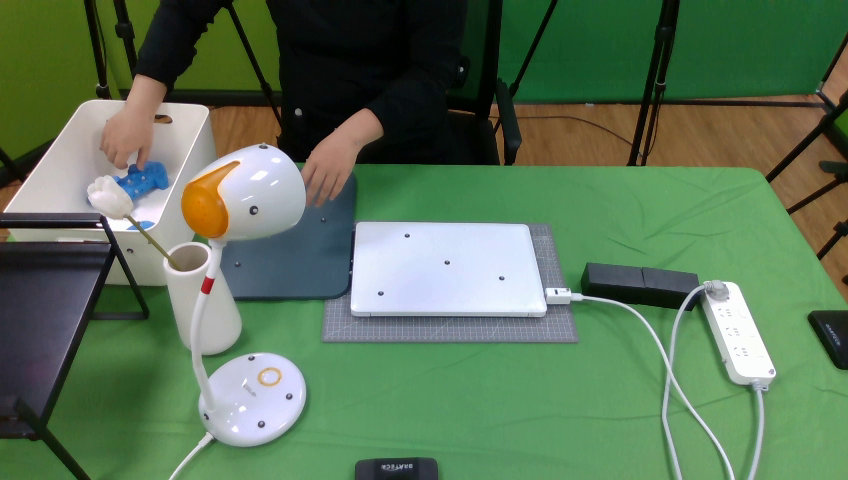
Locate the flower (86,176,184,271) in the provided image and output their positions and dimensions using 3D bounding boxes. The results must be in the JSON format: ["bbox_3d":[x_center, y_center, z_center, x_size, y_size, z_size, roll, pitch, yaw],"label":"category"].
[{"bbox_3d":[-0.365,0.038,0.894,0.038,0.364,0.044,-4,53,15],"label":"flower"}]

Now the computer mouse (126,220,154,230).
[{"bbox_3d":[-0.537,0.008,1.127,0.062,0.041,0.117,32,56,20],"label":"computer mouse"}]

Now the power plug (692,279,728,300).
[{"bbox_3d":[0.522,0.091,1.116,0.072,0.053,0.035,10,47,8],"label":"power plug"}]

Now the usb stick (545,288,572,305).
[{"bbox_3d":[0.236,0.102,1.101,0.059,0.027,0.021,-2,47,2],"label":"usb stick"}]

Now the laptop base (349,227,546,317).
[{"bbox_3d":[0.040,0.055,1.149,0.355,0.023,0.234,1,42,-4],"label":"laptop base"}]

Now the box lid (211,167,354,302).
[{"bbox_3d":[-0.276,-0.024,1.205,0.263,0.015,0.369,0,46,-4],"label":"box lid"}]

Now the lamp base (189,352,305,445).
[{"bbox_3d":[-0.268,0.196,0.876,0.160,0.181,0.179,26,52,20],"label":"lamp base"}]

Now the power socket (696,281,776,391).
[{"bbox_3d":[0.550,0.160,1.078,0.072,0.033,0.225,2,46,-1],"label":"power socket"}]

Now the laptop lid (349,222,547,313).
[{"bbox_3d":[0.041,0.046,1.143,0.357,0.013,0.240,2,44,-3],"label":"laptop lid"}]

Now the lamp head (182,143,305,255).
[{"bbox_3d":[-0.216,-0.044,0.697,0.112,0.113,0.123,23,31,17],"label":"lamp head"}]

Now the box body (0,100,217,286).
[{"bbox_3d":[-0.559,-0.092,1.145,0.254,0.161,0.361,3,46,-2],"label":"box body"}]

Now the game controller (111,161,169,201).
[{"bbox_3d":[-0.597,-0.114,1.234,0.097,0.052,0.155,31,52,18],"label":"game controller"}]

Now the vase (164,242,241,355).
[{"bbox_3d":[-0.349,0.096,0.954,0.098,0.201,0.097,3,47,-3],"label":"vase"}]
